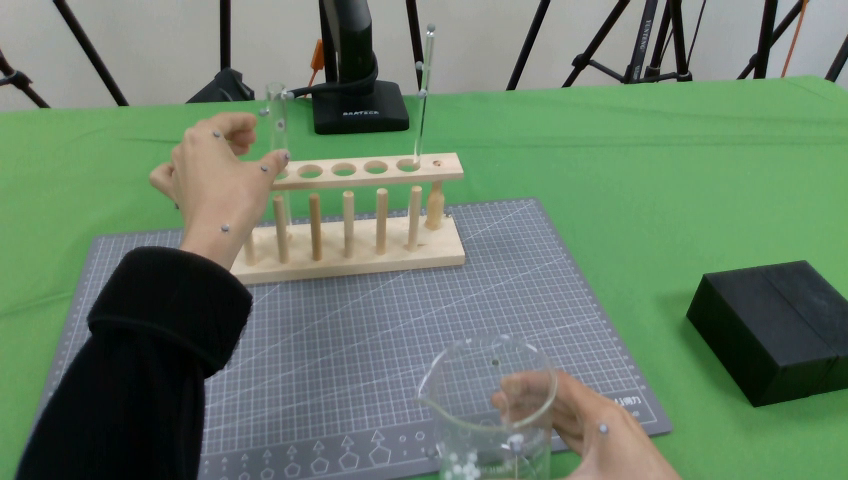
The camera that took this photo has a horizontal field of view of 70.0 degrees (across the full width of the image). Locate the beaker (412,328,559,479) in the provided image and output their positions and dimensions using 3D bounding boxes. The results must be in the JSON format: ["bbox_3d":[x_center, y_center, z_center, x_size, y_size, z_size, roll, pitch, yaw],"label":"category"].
[{"bbox_3d":[0.039,0.116,0.369,0.084,0.101,0.073,-9,34,-4],"label":"beaker"}]

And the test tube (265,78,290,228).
[{"bbox_3d":[-0.125,-0.069,0.521,0.017,0.151,0.017,5,42,-4],"label":"test tube"}]

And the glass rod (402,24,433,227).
[{"bbox_3d":[-0.008,-0.088,0.526,0.008,0.201,0.008,5,41,-4],"label":"glass rod"}]

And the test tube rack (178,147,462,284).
[{"bbox_3d":[-0.087,-0.024,0.549,0.243,0.086,0.066,-5,41,-9],"label":"test tube rack"}]
